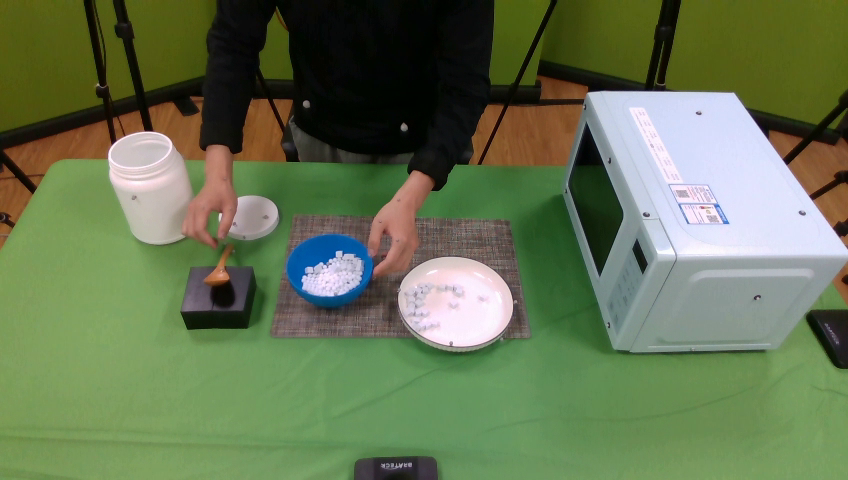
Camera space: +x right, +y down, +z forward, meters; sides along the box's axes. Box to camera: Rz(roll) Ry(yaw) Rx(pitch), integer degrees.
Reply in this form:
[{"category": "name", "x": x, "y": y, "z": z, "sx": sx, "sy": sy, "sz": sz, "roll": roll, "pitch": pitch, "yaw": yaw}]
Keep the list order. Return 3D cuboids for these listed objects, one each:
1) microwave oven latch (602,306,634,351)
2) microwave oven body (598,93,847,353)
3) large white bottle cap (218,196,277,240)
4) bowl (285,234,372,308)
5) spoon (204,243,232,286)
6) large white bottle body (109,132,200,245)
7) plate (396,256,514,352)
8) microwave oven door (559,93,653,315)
[{"category": "microwave oven latch", "x": 0.332, "y": 0.153, "z": 1.044, "sx": 0.030, "sy": 0.029, "sz": 0.078, "roll": 0, "pitch": 45, "yaw": -4}, {"category": "microwave oven body", "x": 0.475, "y": -0.041, "z": 1.109, "sx": 0.326, "sy": 0.261, "sz": 0.438, "roll": -1, "pitch": 45, "yaw": -4}, {"category": "large white bottle cap", "x": -0.354, "y": -0.045, "z": 1.220, "sx": 0.115, "sy": 0.018, "sz": 0.114, "roll": 2, "pitch": 46, "yaw": -2}, {"category": "bowl", "x": -0.168, "y": 0.068, "z": 1.077, "sx": 0.151, "sy": 0.077, "sz": 0.150, "roll": 3, "pitch": 46, "yaw": -3}, {"category": "spoon", "x": -0.360, "y": 0.039, "z": 1.087, "sx": 0.041, "sy": 0.022, "sz": 0.192, "roll": -10, "pitch": 25, "yaw": -6}, {"category": "large white bottle body", "x": -0.506, "y": -0.097, "z": 1.141, "sx": 0.131, "sy": 0.185, "sz": 0.130, "roll": 2, "pitch": 46, "yaw": -2}, {"category": "plate", "x": 0.053, "y": 0.116, "z": 1.077, "sx": 0.209, "sy": 0.038, "sz": 0.208, "roll": 2, "pitch": 46, "yaw": -2}, {"category": "microwave oven door", "x": 0.327, "y": -0.074, "z": 1.123, "sx": 0.039, "sy": 0.245, "sz": 0.353, "roll": -1, "pitch": 46, "yaw": -5}]
